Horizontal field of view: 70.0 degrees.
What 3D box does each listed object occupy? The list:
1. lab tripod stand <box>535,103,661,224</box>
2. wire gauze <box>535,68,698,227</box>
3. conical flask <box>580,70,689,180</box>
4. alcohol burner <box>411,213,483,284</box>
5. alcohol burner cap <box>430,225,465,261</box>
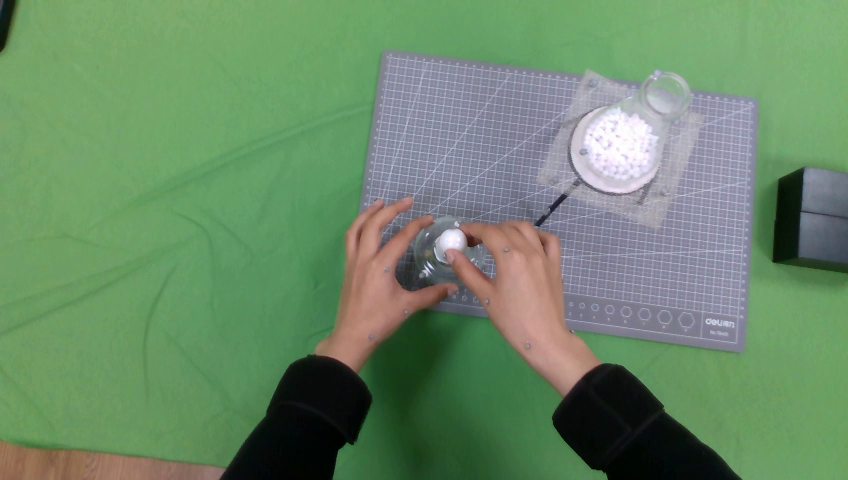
[{"bbox_3d":[0.178,-0.081,0.637,0.148,0.132,0.148,0,81,1],"label":"lab tripod stand"},{"bbox_3d":[0.184,-0.088,0.572,0.121,0.011,0.125,25,80,2],"label":"wire gauze"},{"bbox_3d":[0.183,-0.101,0.515,0.075,0.122,0.075,0,81,0],"label":"conical flask"},{"bbox_3d":[0.025,0.007,0.633,0.078,0.119,0.077,0,84,0],"label":"alcohol burner"},{"bbox_3d":[0.025,0.001,0.597,0.034,0.048,0.033,1,80,-5],"label":"alcohol burner cap"}]
